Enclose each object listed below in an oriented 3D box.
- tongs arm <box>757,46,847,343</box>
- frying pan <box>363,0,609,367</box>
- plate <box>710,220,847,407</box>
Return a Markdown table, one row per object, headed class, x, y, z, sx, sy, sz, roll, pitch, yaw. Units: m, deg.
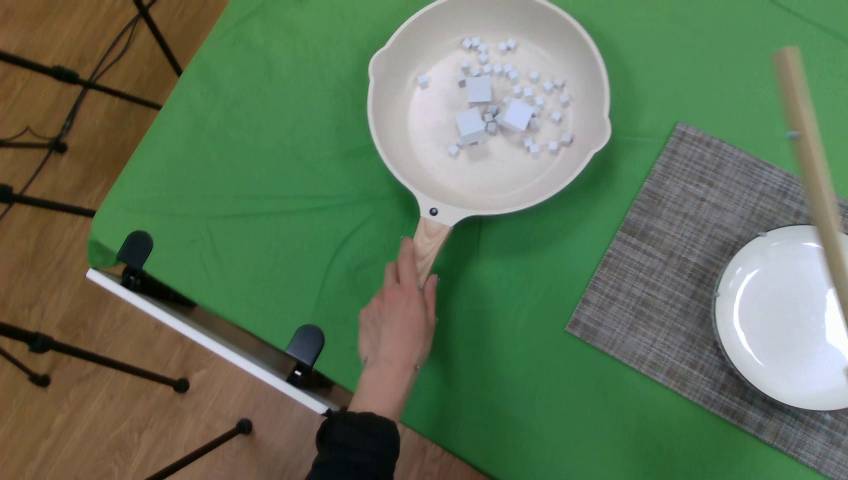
| class | x | y | z | sx | sy | sz | roll | pitch | yaw |
| --- | --- | --- | --- | --- | --- | --- | --- | --- | --- |
| tongs arm | 0.348 | 0.025 | 0.498 | 0.028 | 0.027 | 0.388 | -23 | 94 | -7 |
| frying pan | 0.035 | -0.076 | 0.731 | 0.306 | 0.103 | 0.486 | 21 | 74 | 11 |
| plate | 0.428 | 0.082 | 0.684 | 0.207 | 0.039 | 0.206 | -1 | 79 | 7 |
